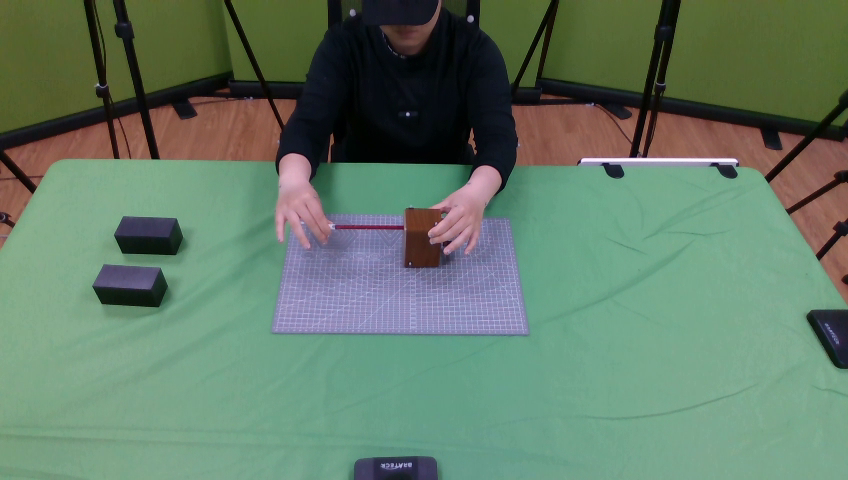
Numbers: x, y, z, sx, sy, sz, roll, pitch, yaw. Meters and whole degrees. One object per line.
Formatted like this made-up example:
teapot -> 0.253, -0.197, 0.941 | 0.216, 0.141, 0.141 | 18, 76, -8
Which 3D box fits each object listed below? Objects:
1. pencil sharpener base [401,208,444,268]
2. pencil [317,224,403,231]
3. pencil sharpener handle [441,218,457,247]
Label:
pencil sharpener base -> -0.003, -0.002, 1.137 | 0.077, 0.107, 0.061 | 0, 45, -5
pencil -> -0.098, -0.023, 1.111 | 0.194, 0.012, 0.012 | 0, 46, -6
pencil sharpener handle -> 0.048, -0.012, 1.133 | 0.031, 0.068, 0.036 | 0, 47, -5
